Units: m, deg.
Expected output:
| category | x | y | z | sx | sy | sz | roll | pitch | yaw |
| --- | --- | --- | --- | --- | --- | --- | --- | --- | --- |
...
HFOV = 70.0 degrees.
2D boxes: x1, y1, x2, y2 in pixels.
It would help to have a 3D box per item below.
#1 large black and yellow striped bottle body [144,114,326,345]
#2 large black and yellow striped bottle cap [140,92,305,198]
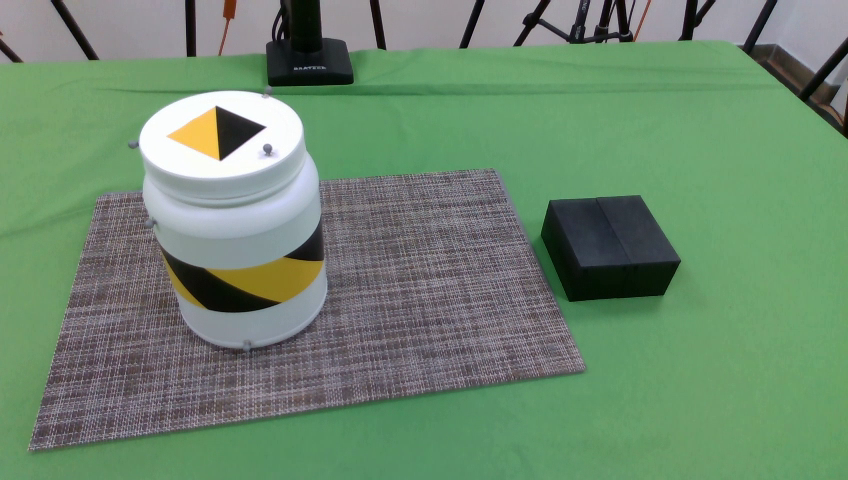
| category | x | y | z | sx | sy | sz | roll | pitch | yaw |
| --- | --- | --- | --- | --- | --- | --- | --- | --- | --- |
| large black and yellow striped bottle body | -0.153 | -0.014 | 0.507 | 0.131 | 0.185 | 0.129 | 3 | 44 | -2 |
| large black and yellow striped bottle cap | -0.147 | -0.074 | 0.448 | 0.115 | 0.019 | 0.114 | 2 | 44 | -2 |
